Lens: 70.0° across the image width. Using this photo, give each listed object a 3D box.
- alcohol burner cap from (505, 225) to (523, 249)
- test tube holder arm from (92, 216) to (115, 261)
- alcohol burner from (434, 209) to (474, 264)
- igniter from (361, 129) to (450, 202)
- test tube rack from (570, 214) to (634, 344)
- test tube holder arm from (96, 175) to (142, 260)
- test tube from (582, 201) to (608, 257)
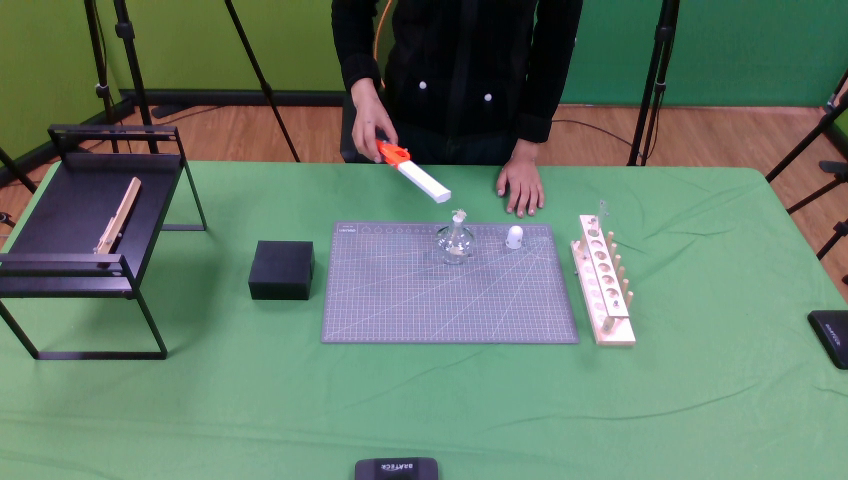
[{"bbox_3d":[0.180,-0.009,1.203,0.034,0.048,0.033,2,47,-2],"label":"alcohol burner cap"},{"bbox_3d":[-0.479,-0.004,0.917,0.010,0.015,0.087,-18,44,20],"label":"test tube holder arm"},{"bbox_3d":[0.058,-0.011,1.147,0.078,0.119,0.077,3,45,-2],"label":"alcohol burner"},{"bbox_3d":[-0.043,-0.147,1.149,0.057,0.025,0.274,-21,44,-28],"label":"igniter"},{"bbox_3d":[0.333,0.067,1.116,0.067,0.085,0.241,1,46,-3],"label":"test tube rack"},{"bbox_3d":[-0.473,-0.039,0.946,0.013,0.015,0.177,-18,43,19],"label":"test tube holder arm"},{"bbox_3d":[0.316,-0.017,1.127,0.017,0.151,0.017,1,51,-1],"label":"test tube"}]
